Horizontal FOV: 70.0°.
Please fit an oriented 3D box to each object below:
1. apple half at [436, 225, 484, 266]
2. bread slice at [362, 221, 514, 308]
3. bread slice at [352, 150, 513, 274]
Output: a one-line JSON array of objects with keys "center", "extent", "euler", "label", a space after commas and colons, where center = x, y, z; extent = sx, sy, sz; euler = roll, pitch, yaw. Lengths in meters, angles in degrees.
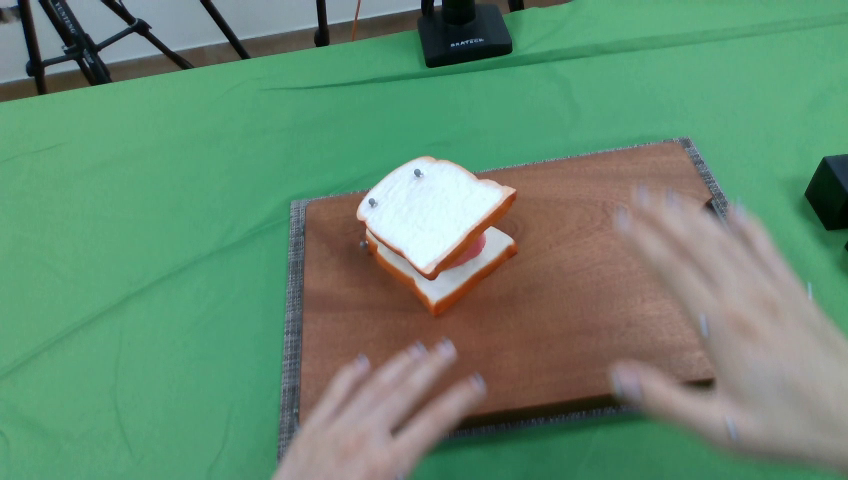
[{"center": [0.012, -0.013, 0.553], "extent": [0.081, 0.033, 0.080], "euler": [-3, 53, 4], "label": "apple half"}, {"center": [0.002, -0.004, 0.575], "extent": [0.105, 0.019, 0.130], "euler": [-37, 55, -23], "label": "bread slice"}, {"center": [-0.003, -0.032, 0.542], "extent": [0.107, 0.018, 0.133], "euler": [-45, 46, -17], "label": "bread slice"}]
